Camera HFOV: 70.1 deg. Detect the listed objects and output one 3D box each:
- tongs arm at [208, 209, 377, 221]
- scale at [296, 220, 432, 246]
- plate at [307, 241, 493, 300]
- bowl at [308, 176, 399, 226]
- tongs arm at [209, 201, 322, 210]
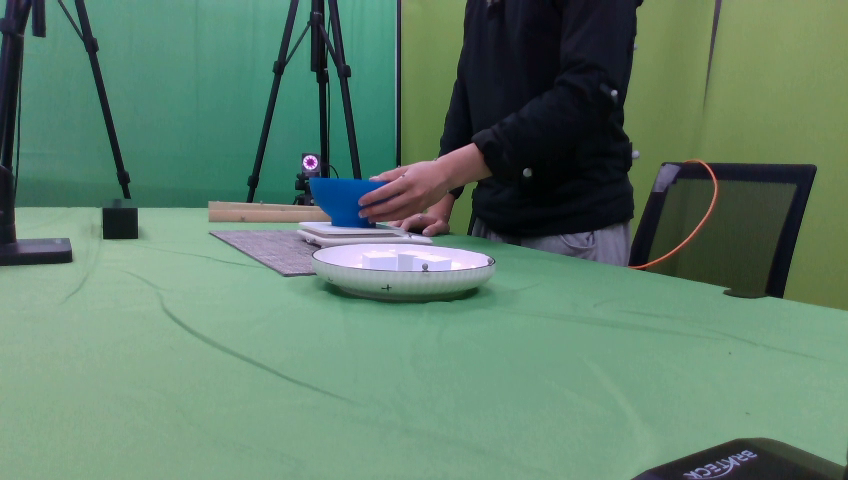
[{"bbox_3d":[-0.280,-0.056,1.355,0.390,0.028,0.028,-1,5,-28],"label":"tongs arm"},{"bbox_3d":[-0.101,-0.012,1.017,0.202,0.031,0.148,-1,8,-30],"label":"scale"},{"bbox_3d":[-0.027,0.034,0.684,0.208,0.039,0.207,2,7,0],"label":"plate"},{"bbox_3d":[-0.117,-0.064,1.002,0.151,0.077,0.151,2,6,0],"label":"bowl"},{"bbox_3d":[-0.306,-0.070,1.430,0.386,0.026,0.050,1,8,-16],"label":"tongs arm"}]
